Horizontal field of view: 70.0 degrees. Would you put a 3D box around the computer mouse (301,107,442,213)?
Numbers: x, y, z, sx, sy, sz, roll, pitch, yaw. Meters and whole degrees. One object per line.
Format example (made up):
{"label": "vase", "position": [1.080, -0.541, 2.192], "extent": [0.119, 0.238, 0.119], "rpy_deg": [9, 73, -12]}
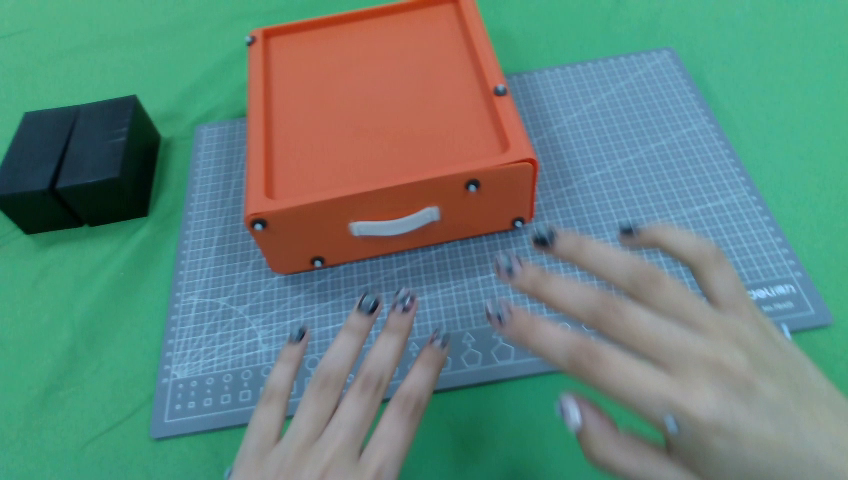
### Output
{"label": "computer mouse", "position": [-0.043, -0.064, 0.469], "extent": [0.117, 0.041, 0.062], "rpy_deg": [-17, 54, 12]}

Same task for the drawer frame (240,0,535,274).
{"label": "drawer frame", "position": [-0.038, -0.093, 0.486], "extent": [0.202, 0.083, 0.211], "rpy_deg": [-12, 53, -1]}

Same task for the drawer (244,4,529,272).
{"label": "drawer", "position": [-0.037, -0.091, 0.485], "extent": [0.194, 0.074, 0.209], "rpy_deg": [-12, 53, 0]}
